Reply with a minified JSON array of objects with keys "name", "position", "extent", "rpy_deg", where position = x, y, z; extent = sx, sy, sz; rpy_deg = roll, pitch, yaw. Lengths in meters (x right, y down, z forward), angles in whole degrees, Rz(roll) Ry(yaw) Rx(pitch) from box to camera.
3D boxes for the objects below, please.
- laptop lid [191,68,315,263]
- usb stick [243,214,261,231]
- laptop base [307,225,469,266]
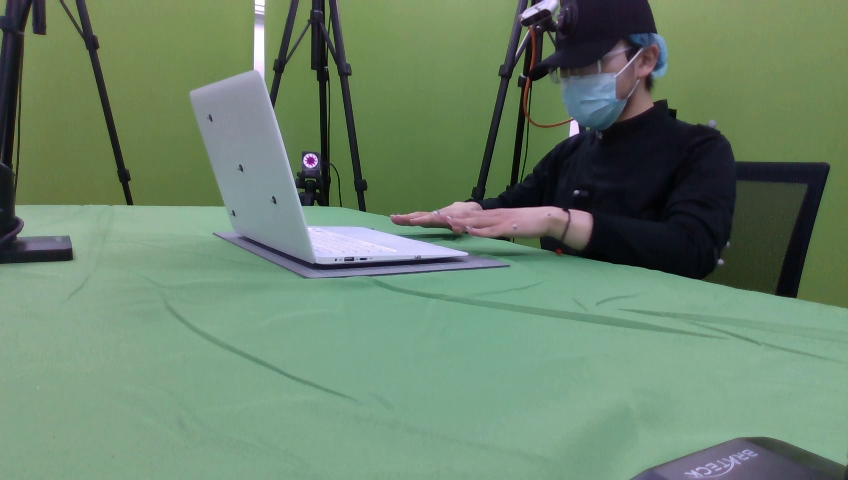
[{"name":"laptop lid","position":[-0.250,-0.102,0.838],"extent":[0.013,0.242,0.355],"rpy_deg":[-22,20,-29]},{"name":"usb stick","position":[-0.298,-0.030,1.053],"extent":[0.021,0.027,0.059],"rpy_deg":[0,10,-31]},{"name":"laptop base","position":[-0.125,0.005,0.936],"extent":[0.237,0.023,0.352],"rpy_deg":[1,7,-33]}]
